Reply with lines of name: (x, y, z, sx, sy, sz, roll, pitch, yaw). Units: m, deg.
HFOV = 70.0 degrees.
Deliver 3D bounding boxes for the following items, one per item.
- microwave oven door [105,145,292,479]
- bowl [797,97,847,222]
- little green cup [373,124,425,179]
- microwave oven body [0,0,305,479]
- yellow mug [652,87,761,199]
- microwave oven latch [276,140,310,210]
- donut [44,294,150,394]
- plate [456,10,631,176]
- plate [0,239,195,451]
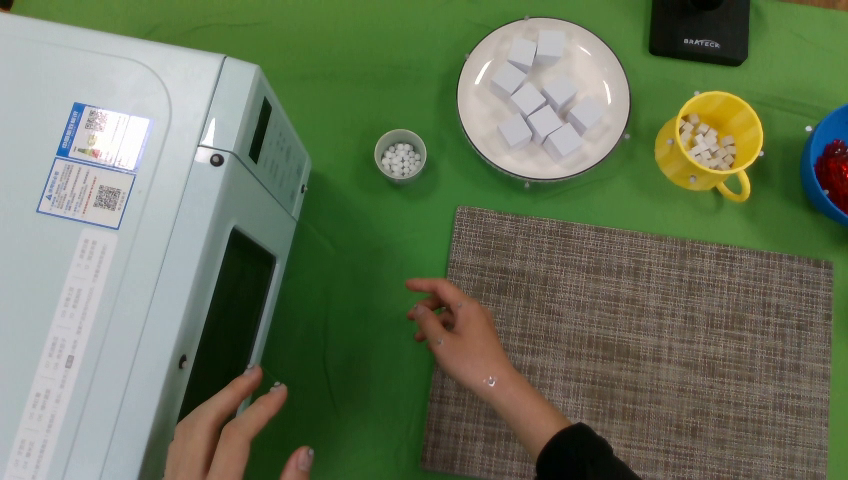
microwave oven door: (-0.202, 0.116, 0.556, 0.039, 0.244, 0.354, 11, 80, 2)
bowl: (0.494, -0.083, 0.699, 0.151, 0.077, 0.151, 0, 80, 0)
little green cup: (-0.029, -0.103, 0.716, 0.061, 0.039, 0.061, 0, 81, -1)
microwave oven body: (-0.335, 0.046, 0.573, 0.326, 0.261, 0.440, 12, 81, 1)
yellow mug: (0.337, -0.107, 0.708, 0.100, 0.064, 0.130, -28, 82, -5)
microwave oven latch: (-0.154, -0.076, 0.694, 0.030, 0.029, 0.079, 15, 81, 2)
donut: (-0.323, 0.103, 0.602, 0.099, 0.048, 0.098, 0, 83, -3)
plate: (0.142, -0.174, 0.733, 0.208, 0.039, 0.207, 0, 80, 0)
plate: (-0.334, 0.104, 0.616, 0.209, 0.038, 0.208, 0, 81, -1)
